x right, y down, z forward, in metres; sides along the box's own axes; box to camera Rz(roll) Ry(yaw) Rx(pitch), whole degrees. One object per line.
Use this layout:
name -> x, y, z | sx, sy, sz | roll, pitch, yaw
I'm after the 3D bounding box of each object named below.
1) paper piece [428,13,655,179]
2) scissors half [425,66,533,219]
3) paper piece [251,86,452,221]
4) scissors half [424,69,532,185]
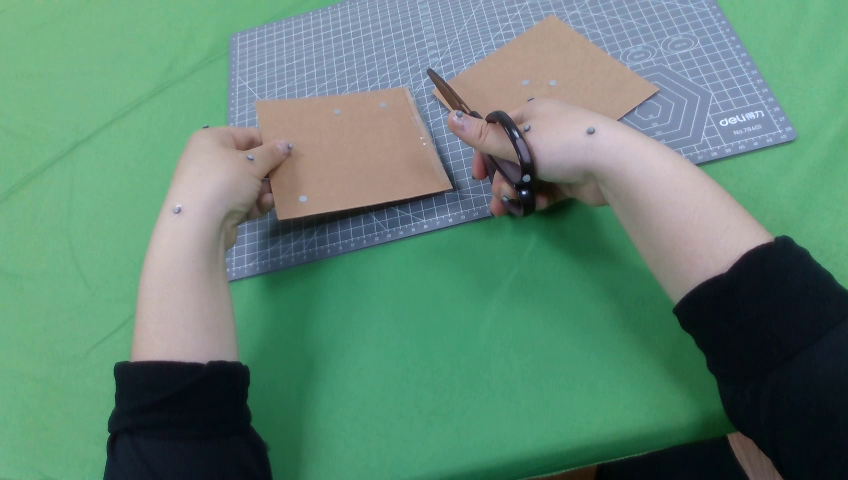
paper piece -> 0.094, -0.126, 0.509 | 0.135, 0.004, 0.134 | -36, 58, -7
scissors half -> 0.036, -0.081, 0.460 | 0.013, 0.040, 0.173 | -24, 59, -7
paper piece -> -0.064, -0.077, 0.492 | 0.138, 0.009, 0.134 | -11, 50, -12
scissors half -> 0.033, -0.094, 0.444 | 0.013, 0.040, 0.173 | -21, 39, -11
